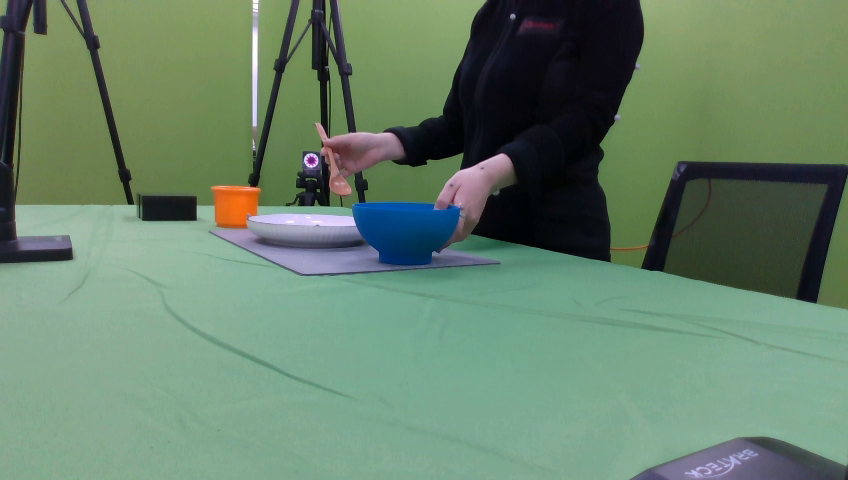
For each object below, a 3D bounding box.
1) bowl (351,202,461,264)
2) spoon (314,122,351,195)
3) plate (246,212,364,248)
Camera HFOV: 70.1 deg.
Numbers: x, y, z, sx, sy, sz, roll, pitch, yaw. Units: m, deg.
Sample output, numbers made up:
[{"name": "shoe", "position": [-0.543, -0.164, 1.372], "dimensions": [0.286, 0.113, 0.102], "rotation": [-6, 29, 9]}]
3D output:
[{"name": "bowl", "position": [-0.025, -0.010, 0.830], "dimensions": [0.151, 0.077, 0.151], "rotation": [1, 7, 0]}, {"name": "spoon", "position": [-0.181, -0.160, 1.169], "dimensions": [0.042, 0.193, 0.021], "rotation": [-4, -31, -29]}, {"name": "plate", "position": [-0.185, -0.017, 0.994], "dimensions": [0.209, 0.038, 0.209], "rotation": [3, 8, 0]}]
